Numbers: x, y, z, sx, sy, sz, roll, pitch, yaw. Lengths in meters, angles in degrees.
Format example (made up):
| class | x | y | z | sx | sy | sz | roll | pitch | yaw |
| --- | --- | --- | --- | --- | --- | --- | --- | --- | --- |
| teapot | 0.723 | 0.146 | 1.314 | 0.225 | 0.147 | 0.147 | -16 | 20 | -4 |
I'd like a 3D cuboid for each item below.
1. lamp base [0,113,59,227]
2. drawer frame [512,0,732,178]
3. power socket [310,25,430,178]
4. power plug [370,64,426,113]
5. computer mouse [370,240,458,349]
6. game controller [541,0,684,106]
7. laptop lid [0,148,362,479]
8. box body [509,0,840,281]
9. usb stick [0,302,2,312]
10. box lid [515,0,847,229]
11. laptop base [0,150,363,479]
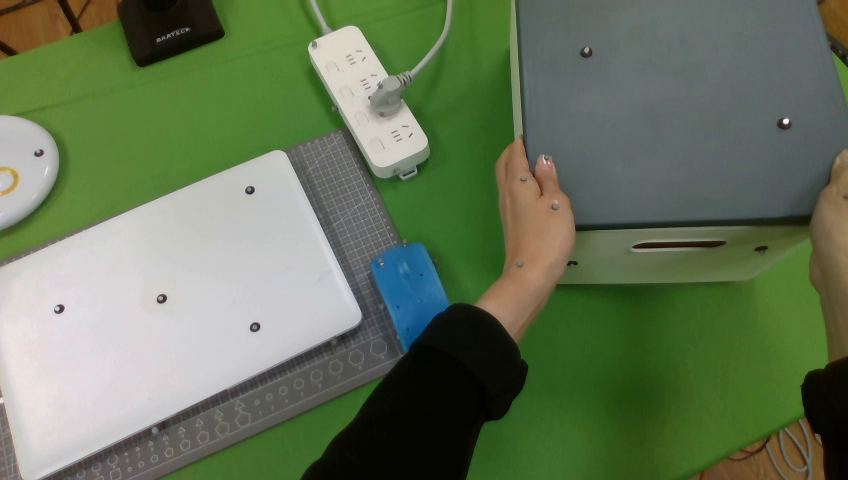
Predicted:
| class | x | y | z | sx | sy | sz | roll | pitch | yaw |
| --- | --- | --- | --- | --- | --- | --- | --- | --- | --- |
| lamp base | -0.527 | -0.118 | 0.647 | 0.178 | 0.182 | 0.160 | 22 | 69 | 15 |
| drawer frame | 0.207 | -0.176 | 0.681 | 0.202 | 0.083 | 0.211 | -1 | 60 | 0 |
| power socket | -0.067 | -0.171 | 0.728 | 0.072 | 0.033 | 0.225 | -25 | 67 | -10 |
| power plug | -0.027 | -0.167 | 0.699 | 0.072 | 0.053 | 0.035 | -15 | 65 | -5 |
| computer mouse | -0.012 | 0.052 | 0.621 | 0.063 | 0.041 | 0.116 | -21 | 63 | -4 |
| game controller | 0.205 | -0.225 | 0.651 | 0.097 | 0.052 | 0.154 | -26 | 68 | -11 |
| laptop lid | -0.267 | 0.060 | 0.630 | 0.357 | 0.013 | 0.239 | -24 | 70 | -7 |
| box body | 0.222 | -0.143 | 0.630 | 0.254 | 0.161 | 0.361 | -1 | 66 | 2 |
| usb stick | -0.475 | 0.078 | 0.631 | 0.059 | 0.027 | 0.021 | -22 | 62 | -9 |
| box lid | 0.216 | -0.185 | 0.540 | 0.263 | 0.015 | 0.368 | -2 | 69 | 5 |
| laptop base | -0.268 | 0.063 | 0.642 | 0.354 | 0.023 | 0.233 | -25 | 71 | -8 |
